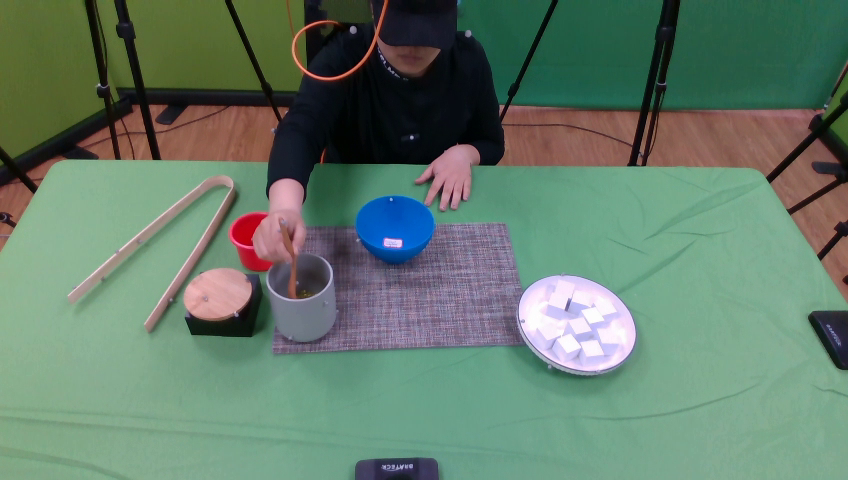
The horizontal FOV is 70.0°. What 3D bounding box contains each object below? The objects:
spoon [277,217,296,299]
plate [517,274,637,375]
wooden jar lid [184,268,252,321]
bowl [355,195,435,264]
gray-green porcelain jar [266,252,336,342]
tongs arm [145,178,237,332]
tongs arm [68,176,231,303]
[{"bbox_3d":[-0.208,0.041,0.943,0.022,0.194,0.041,-10,40,-16],"label":"spoon"},{"bbox_3d":[0.264,0.149,1.060,0.209,0.038,0.208,3,46,-3],"label":"plate"},{"bbox_3d":[-0.343,0.093,1.015,0.108,0.021,0.107,3,46,-3],"label":"wooden jar lid"},{"bbox_3d":[-0.056,-0.008,1.158,0.151,0.077,0.150,2,46,-2],"label":"bowl"},{"bbox_3d":[-0.202,0.100,1.009,0.106,0.127,0.105,2,46,-2],"label":"gray-green porcelain jar"},{"bbox_3d":[-0.432,0.014,1.149,0.028,0.028,0.385,8,46,7],"label":"tongs arm"},{"bbox_3d":[-0.510,-0.010,1.162,0.050,0.026,0.383,20,47,14],"label":"tongs arm"}]
